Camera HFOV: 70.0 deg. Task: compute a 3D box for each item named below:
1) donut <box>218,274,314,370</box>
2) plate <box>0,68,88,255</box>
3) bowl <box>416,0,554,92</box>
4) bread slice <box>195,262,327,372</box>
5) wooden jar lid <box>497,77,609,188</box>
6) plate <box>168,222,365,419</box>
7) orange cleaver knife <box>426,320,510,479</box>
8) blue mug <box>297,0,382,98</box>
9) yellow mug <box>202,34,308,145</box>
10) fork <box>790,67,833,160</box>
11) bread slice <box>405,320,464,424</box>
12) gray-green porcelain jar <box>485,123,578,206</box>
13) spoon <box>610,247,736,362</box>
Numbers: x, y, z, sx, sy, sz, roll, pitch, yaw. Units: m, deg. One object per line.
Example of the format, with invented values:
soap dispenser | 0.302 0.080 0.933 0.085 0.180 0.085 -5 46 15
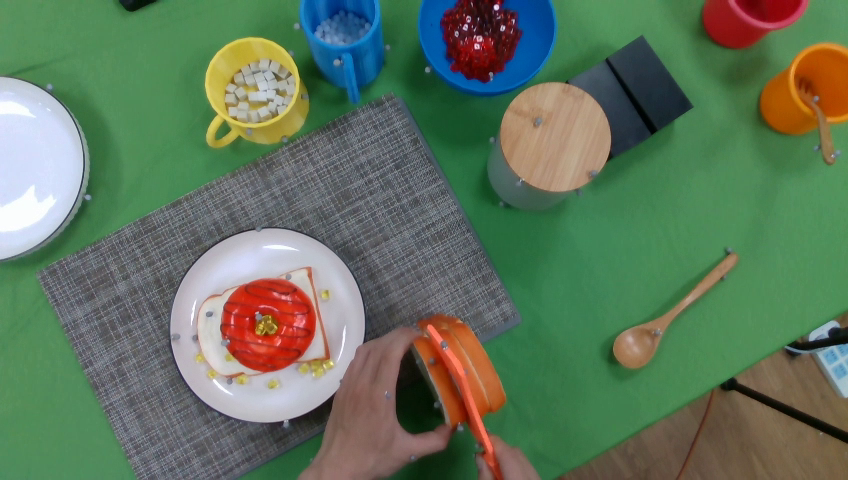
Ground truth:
donut | -0.163 0.085 0.631 0.099 0.048 0.099 1 85 -6
plate | -0.473 -0.083 0.667 0.208 0.039 0.207 0 84 -2
bowl | 0.065 -0.231 0.684 0.151 0.077 0.151 0 85 -2
bread slice | -0.180 0.090 0.660 0.132 0.019 0.104 -15 84 -7
wooden jar lid | 0.123 -0.103 0.586 0.108 0.021 0.108 0 85 -5
plate | -0.166 0.085 0.658 0.209 0.038 0.208 0 84 -2
orange cleaver knife | 0.047 0.171 0.577 0.012 0.076 0.213 -27 112 -11
blue mug | -0.087 -0.214 0.662 0.082 0.106 0.116 -8 84 -3
yellow mug | -0.195 -0.156 0.671 0.100 0.064 0.131 40 85 3
fork | 0.419 -0.141 0.652 0.028 0.019 0.206 35 40 -5
bread slice | 0.010 0.132 0.619 0.018 0.134 0.106 -24 84 -6
gray-green porcelain jar | 0.122 -0.095 0.648 0.106 0.126 0.105 0 84 -2
spoon | 0.288 0.071 0.690 0.193 0.022 0.041 -40 69 -5
